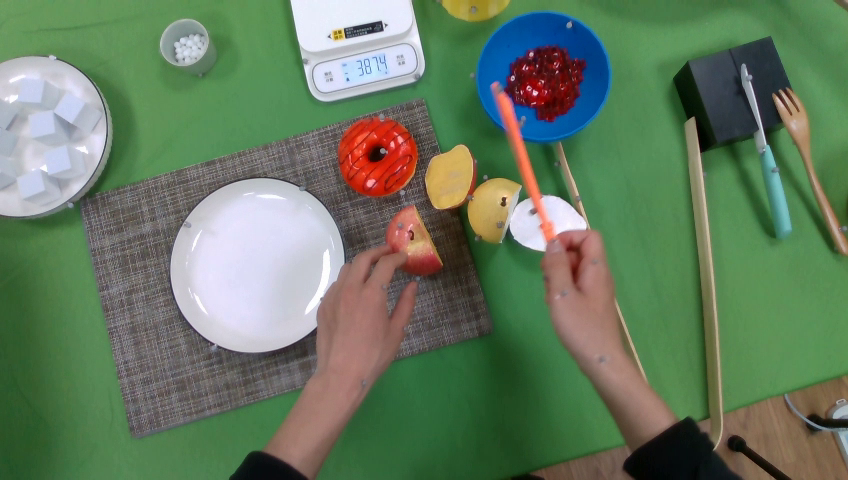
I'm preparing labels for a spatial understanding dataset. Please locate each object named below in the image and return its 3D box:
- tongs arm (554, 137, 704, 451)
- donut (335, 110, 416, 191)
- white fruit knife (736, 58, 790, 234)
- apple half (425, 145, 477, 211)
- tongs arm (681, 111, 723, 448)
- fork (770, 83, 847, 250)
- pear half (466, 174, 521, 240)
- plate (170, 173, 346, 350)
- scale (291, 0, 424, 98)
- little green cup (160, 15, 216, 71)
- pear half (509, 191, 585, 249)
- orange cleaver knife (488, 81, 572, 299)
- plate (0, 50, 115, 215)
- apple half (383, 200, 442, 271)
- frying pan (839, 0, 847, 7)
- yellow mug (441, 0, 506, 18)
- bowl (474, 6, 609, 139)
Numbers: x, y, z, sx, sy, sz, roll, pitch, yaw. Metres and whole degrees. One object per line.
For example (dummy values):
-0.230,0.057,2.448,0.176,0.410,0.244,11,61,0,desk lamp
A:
0.233,0.057,0.701,0.051,0.026,0.383,-16,84,-4,tongs arm
-0.059,-0.107,0.724,0.099,0.048,0.099,-1,84,5,donut
0.384,-0.105,0.688,0.016,0.027,0.208,-19,97,1,white fruit knife
0.040,-0.073,0.723,0.080,0.033,0.081,11,107,43,apple half
0.318,0.040,0.703,0.028,0.028,0.386,-1,84,-6,tongs arm
0.442,-0.082,0.691,0.028,0.018,0.208,-26,98,-3,fork
0.075,-0.043,0.682,0.056,0.110,0.076,16,79,6,pear half
-0.193,0.025,0.720,0.209,0.038,0.208,0,83,3,plate
-0.089,-0.287,0.757,0.148,0.031,0.200,-12,84,2,scale
-0.293,-0.244,0.759,0.061,0.039,0.061,0,83,3,little green cup
0.146,-0.021,0.714,0.087,0.031,0.070,9,82,19,pear half
0.098,-0.046,0.566,0.012,0.077,0.212,-20,105,8,orange cleaver knife
-0.483,-0.132,0.756,0.207,0.039,0.207,0,83,3,plate
-0.018,0.001,0.696,0.053,0.075,0.080,-26,87,4,apple half
0.378,-0.374,0.706,0.307,0.103,0.485,-43,75,-1,frying pan
0.049,-0.343,0.739,0.130,0.064,0.100,41,87,7,yellow mug
0.133,-0.184,0.711,0.151,0.077,0.151,0,84,3,bowl
